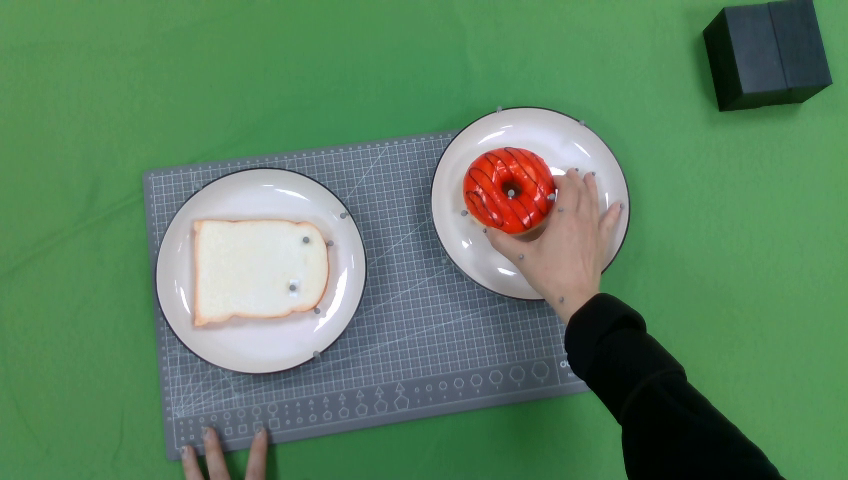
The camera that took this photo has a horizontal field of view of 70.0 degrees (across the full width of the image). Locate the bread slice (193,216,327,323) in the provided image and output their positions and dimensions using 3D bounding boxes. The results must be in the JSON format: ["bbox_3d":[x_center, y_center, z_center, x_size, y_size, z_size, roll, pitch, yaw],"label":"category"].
[{"bbox_3d":[-0.167,0.024,0.618,0.134,0.018,0.106,-6,82,-4],"label":"bread slice"}]

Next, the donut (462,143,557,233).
[{"bbox_3d":[0.088,-0.055,0.627,0.099,0.048,0.098,-1,74,2],"label":"donut"}]

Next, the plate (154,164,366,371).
[{"bbox_3d":[-0.163,0.028,0.616,0.209,0.038,0.208,1,80,-3],"label":"plate"}]

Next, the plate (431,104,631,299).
[{"bbox_3d":[0.110,-0.040,0.639,0.208,0.039,0.207,0,80,-2],"label":"plate"}]
